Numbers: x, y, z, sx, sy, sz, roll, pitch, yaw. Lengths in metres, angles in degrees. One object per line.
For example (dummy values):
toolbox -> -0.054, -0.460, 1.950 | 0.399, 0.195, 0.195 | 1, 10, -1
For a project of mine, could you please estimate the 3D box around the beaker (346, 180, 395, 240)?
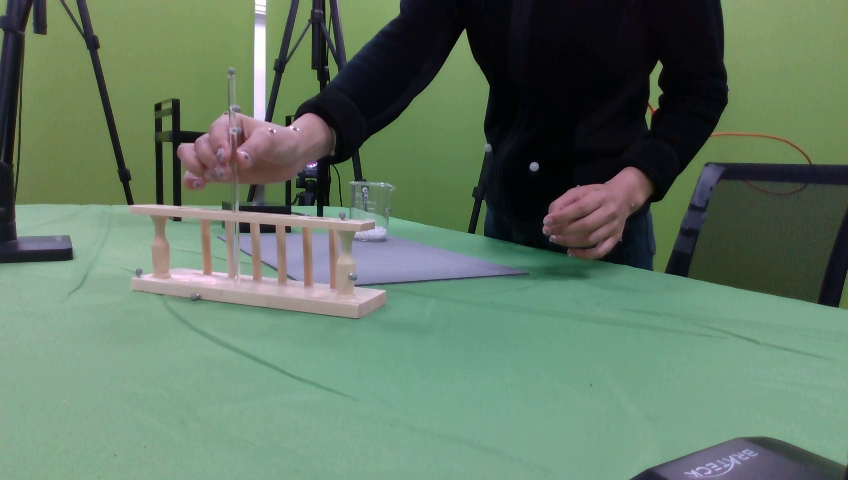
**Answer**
beaker -> -0.094, -0.052, 1.053 | 0.084, 0.100, 0.074 | 1, 8, -13

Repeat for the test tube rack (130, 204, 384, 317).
test tube rack -> -0.163, 0.013, 0.588 | 0.242, 0.085, 0.067 | 5, 8, 17

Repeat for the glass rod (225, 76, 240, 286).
glass rod -> -0.179, -0.051, 0.567 | 0.008, 0.199, 0.008 | 1, 12, 0
